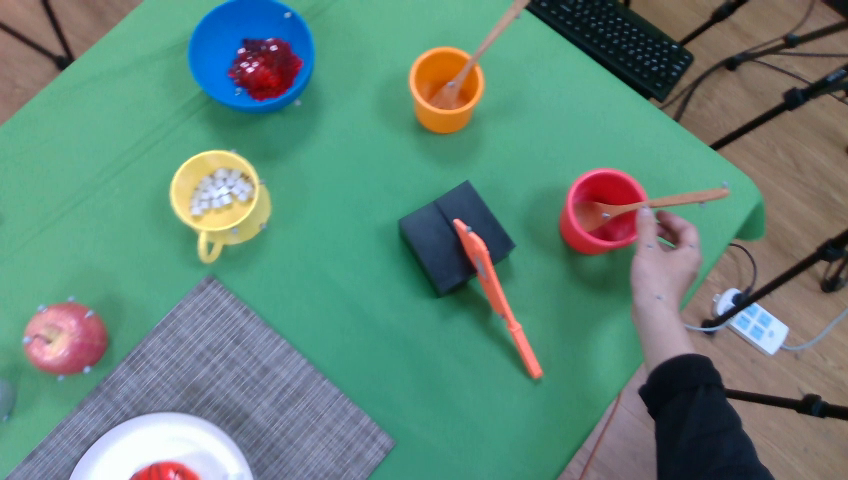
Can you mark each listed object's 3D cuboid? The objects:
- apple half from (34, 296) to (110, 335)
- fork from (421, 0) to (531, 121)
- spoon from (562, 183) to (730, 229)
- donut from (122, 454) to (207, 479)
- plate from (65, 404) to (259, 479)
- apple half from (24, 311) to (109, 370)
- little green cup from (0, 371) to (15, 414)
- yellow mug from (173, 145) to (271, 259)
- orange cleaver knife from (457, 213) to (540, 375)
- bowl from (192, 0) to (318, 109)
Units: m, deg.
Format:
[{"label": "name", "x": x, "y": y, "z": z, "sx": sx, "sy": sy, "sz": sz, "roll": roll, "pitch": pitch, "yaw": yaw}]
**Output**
[{"label": "apple half", "x": -0.388, "y": 0.081, "z": 0.684, "sx": 0.081, "sy": 0.081, "sz": 0.032, "roll": 21, "pitch": 80, "yaw": 3}, {"label": "fork", "x": 0.065, "y": -0.226, "z": 0.743, "sx": 0.028, "sy": 0.018, "sz": 0.208, "roll": 51, "pitch": 123, "yaw": 11}, {"label": "spoon", "x": 0.254, "y": -0.043, "z": 0.711, "sx": 0.193, "sy": 0.022, "sz": 0.041, "roll": -10, "pitch": 69, "yaw": 41}, {"label": "donut", "x": -0.278, "y": 0.279, "z": 0.644, "sx": 0.099, "sy": 0.048, "sz": 0.098, "roll": 1, "pitch": 79, "yaw": -3}, {"label": "plate", "x": -0.280, "y": 0.283, "z": 0.655, "sx": 0.209, "sy": 0.038, "sz": 0.208, "roll": 1, "pitch": 76, "yaw": -3}, {"label": "apple half", "x": -0.402, "y": 0.117, "z": 0.676, "sx": 0.081, "sy": 0.075, "sz": 0.053, "roll": 22, "pitch": 80, "yaw": -1}, {"label": "little green cup", "x": -0.493, "y": 0.172, "z": 0.675, "sx": 0.061, "sy": 0.039, "sz": 0.061, "roll": 1, "pitch": 76, "yaw": -2}, {"label": "yellow mug", "x": -0.243, "y": -0.041, "z": 0.726, "sx": 0.100, "sy": 0.064, "sz": 0.130, "roll": 10, "pitch": 77, "yaw": -1}, {"label": "orange cleaver knife", "x": 0.086, "y": 0.064, "z": 0.705, "sx": 0.012, "sy": 0.076, "sz": 0.213, "roll": -28, "pitch": 111, "yaw": -7}, {"label": "bowl", "x": -0.205, "y": -0.226, "z": 0.766, "sx": 0.151, "sy": 0.077, "sz": 0.150, "roll": 1, "pitch": 77, "yaw": -3}]
